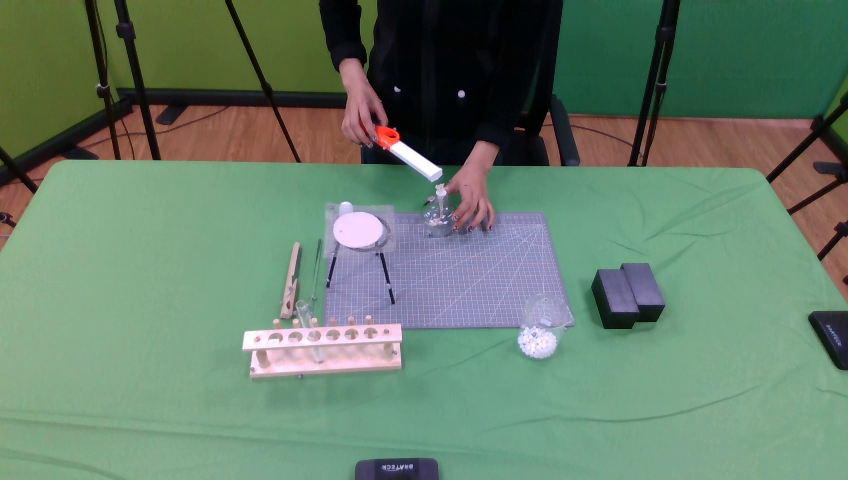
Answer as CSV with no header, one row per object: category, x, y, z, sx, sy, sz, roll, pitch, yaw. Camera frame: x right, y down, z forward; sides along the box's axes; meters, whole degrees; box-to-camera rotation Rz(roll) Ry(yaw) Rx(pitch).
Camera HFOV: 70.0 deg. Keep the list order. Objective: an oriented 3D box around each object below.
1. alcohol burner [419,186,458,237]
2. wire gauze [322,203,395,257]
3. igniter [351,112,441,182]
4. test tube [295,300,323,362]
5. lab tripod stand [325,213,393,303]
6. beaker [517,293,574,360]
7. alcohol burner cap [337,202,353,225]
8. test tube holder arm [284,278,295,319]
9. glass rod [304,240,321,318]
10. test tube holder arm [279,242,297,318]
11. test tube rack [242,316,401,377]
alcohol burner,0.030,-0.063,1.196,0.078,0.119,0.077,3,48,-3
wire gauze,-0.111,-0.020,1.035,0.121,0.011,0.124,0,47,-7
igniter,-0.065,-0.194,1.226,0.057,0.025,0.275,-32,52,-24
test tube,-0.176,0.143,0.935,0.017,0.151,0.017,-2,46,2
lab tripod stand,-0.104,0.031,1.080,0.148,0.132,0.147,4,45,-4
beaker,0.200,0.149,1.018,0.084,0.101,0.073,14,47,8
alcohol burner cap,-0.161,-0.056,1.223,0.034,0.048,0.033,2,46,-2
test tube holder arm,-0.241,0.103,1.085,0.010,0.015,0.087,26,38,-27
glass rod,-0.207,0.068,1.128,0.008,0.008,0.198,2,43,-2
test tube holder arm,-0.249,0.069,1.114,0.013,0.015,0.177,26,38,-27
test tube rack,-0.161,0.166,0.983,0.242,0.085,0.066,-2,46,-6
